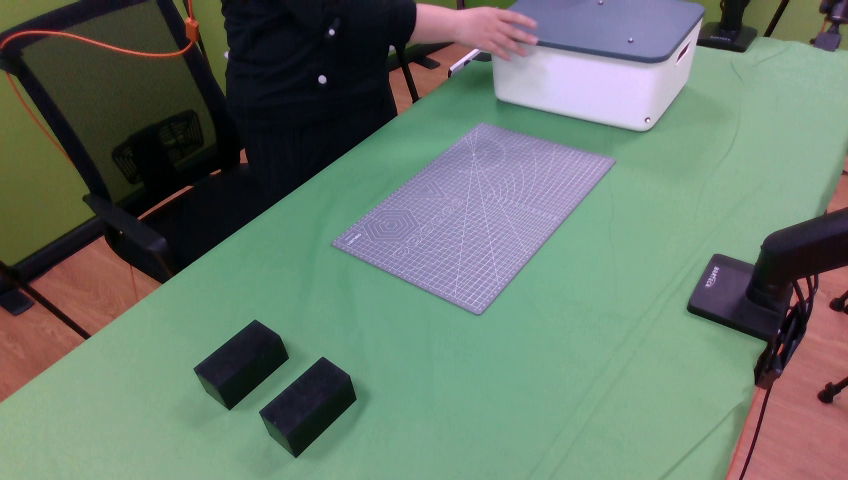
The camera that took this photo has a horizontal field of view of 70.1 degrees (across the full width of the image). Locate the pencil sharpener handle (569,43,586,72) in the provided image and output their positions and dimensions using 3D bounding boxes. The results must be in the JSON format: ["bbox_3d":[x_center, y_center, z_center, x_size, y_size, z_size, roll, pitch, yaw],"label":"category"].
[{"bbox_3d":[0.323,-0.388,1.282,0.030,0.068,0.036,19,57,28],"label":"pencil sharpener handle"}]

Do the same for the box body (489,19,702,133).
[{"bbox_3d":[0.346,-0.374,1.251,0.361,0.161,0.255,21,48,29],"label":"box body"}]

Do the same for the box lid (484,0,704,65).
[{"bbox_3d":[0.333,-0.428,1.192,0.369,0.015,0.264,20,49,29],"label":"box lid"}]

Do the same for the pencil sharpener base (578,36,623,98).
[{"bbox_3d":[0.366,-0.362,1.266,0.076,0.107,0.061,19,47,28],"label":"pencil sharpener base"}]
